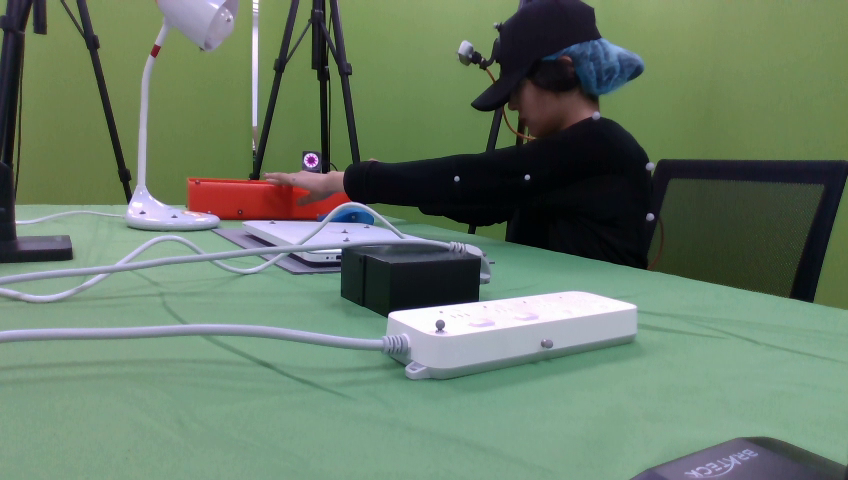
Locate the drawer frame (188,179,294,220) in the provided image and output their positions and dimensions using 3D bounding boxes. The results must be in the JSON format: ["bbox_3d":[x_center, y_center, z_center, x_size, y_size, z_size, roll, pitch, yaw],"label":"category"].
[{"bbox_3d":[-0.416,-0.094,1.368,0.214,0.082,0.201,-2,9,-23],"label":"drawer frame"}]

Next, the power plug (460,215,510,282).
[{"bbox_3d":[0.064,0.011,0.624,0.053,0.072,0.035,-3,39,-3],"label":"power plug"}]

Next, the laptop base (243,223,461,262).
[{"bbox_3d":[-0.126,0.003,0.945,0.237,0.023,0.352,2,6,-31],"label":"laptop base"}]

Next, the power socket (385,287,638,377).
[{"bbox_3d":[0.074,0.064,0.462,0.228,0.032,0.072,-3,8,-34],"label":"power socket"}]

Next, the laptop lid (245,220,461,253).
[{"bbox_3d":[-0.124,-0.009,0.945,0.243,0.013,0.355,1,7,-29],"label":"laptop lid"}]

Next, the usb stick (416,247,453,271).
[{"bbox_3d":[0.009,0.024,0.755,0.027,0.021,0.059,37,-18,-17],"label":"usb stick"}]

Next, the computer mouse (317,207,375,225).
[{"bbox_3d":[-0.164,-0.047,1.264,0.118,0.041,0.062,-6,13,-29],"label":"computer mouse"}]

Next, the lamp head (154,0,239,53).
[{"bbox_3d":[-0.406,-0.402,1.059,0.123,0.112,0.112,25,5,-6],"label":"lamp head"}]

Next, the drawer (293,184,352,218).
[{"bbox_3d":[-0.297,-0.094,1.423,0.213,0.073,0.193,-2,9,-25],"label":"drawer"}]

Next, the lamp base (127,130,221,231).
[{"bbox_3d":[-0.469,-0.112,1.108,0.179,0.180,0.160,0,7,3],"label":"lamp base"}]
